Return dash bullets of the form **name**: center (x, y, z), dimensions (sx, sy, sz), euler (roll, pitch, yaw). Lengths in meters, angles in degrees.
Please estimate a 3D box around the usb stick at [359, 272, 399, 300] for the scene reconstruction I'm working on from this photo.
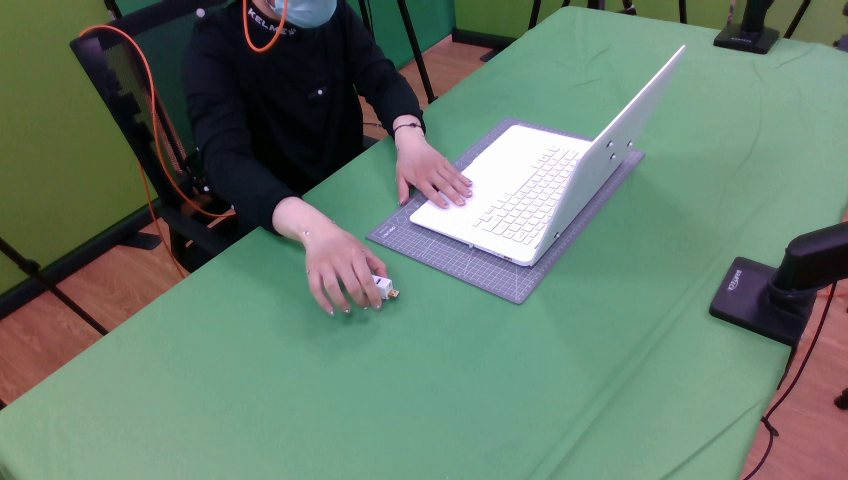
- **usb stick**: center (-0.065, 0.070, 0.892), dimensions (0.059, 0.027, 0.021), euler (19, 48, 19)

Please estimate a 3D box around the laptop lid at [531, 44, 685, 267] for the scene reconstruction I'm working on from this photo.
- **laptop lid**: center (0.279, -0.128, 0.906), dimensions (0.013, 0.242, 0.357), euler (34, 52, 17)

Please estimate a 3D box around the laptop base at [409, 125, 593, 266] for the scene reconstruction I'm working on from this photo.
- **laptop base**: center (0.168, -0.093, 1.055), dimensions (0.233, 0.023, 0.355), euler (19, 47, 33)
